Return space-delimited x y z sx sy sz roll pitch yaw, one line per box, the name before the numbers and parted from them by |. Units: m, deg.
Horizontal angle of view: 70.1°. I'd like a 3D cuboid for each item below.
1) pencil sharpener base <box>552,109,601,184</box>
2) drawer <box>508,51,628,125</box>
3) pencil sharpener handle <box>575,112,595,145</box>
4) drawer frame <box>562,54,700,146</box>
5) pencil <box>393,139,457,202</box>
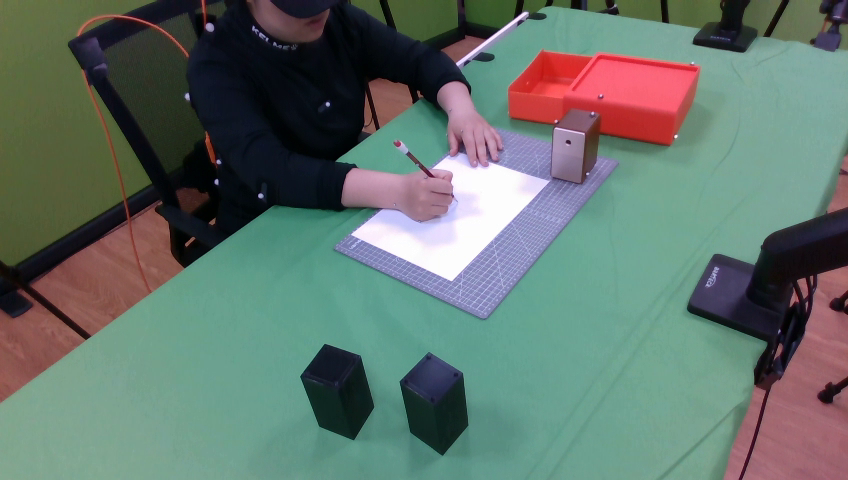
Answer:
pencil sharpener base | 0.265 -0.163 1.053 0.061 0.107 0.077 17 46 27
drawer | 0.305 -0.309 1.246 0.210 0.073 0.195 16 45 25
pencil sharpener handle | 0.290 -0.203 1.077 0.036 0.068 0.031 19 47 25
drawer frame | 0.407 -0.282 1.195 0.212 0.083 0.202 17 45 25
pencil | 0.007 -0.107 0.975 0.012 0.196 0.012 -17 57 27
